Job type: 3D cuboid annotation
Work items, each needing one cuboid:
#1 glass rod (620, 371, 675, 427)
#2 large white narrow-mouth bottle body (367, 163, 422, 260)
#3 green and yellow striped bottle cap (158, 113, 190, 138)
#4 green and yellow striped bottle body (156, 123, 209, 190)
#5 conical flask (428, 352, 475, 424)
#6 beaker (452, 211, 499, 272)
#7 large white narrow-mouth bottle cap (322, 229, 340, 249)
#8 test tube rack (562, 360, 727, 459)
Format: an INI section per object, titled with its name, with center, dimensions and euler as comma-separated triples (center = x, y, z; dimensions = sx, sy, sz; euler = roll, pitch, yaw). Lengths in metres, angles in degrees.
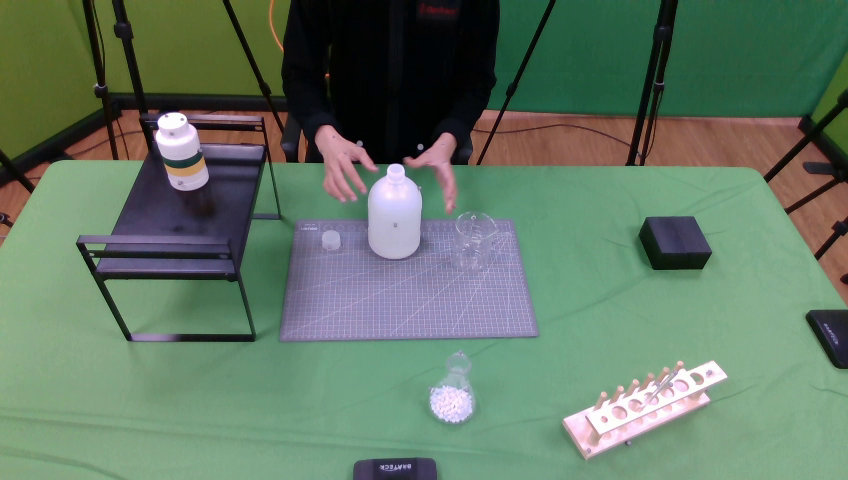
[glass rod]
center = 0.316, 0.230, 0.863
dimensions = 0.008, 0.200, 0.008
euler = 3, 54, -3
[large white narrow-mouth bottle body]
center = -0.055, -0.059, 1.128
dimensions = 0.102, 0.195, 0.101
euler = 3, 45, -3
[green and yellow striped bottle cap]
center = -0.393, -0.180, 0.951
dimensions = 0.045, 0.020, 0.045
euler = 2, 44, -2
[green and yellow striped bottle body]
center = -0.395, -0.145, 0.989
dimensions = 0.063, 0.120, 0.063
euler = 2, 46, -2
[conical flask]
center = 0.046, 0.220, 0.920
dimensions = 0.075, 0.122, 0.075
euler = 2, 46, -2
[beaker]
center = 0.093, 0.006, 1.141
dimensions = 0.084, 0.101, 0.073
euler = 8, 47, 3
[large white narrow-mouth bottle cap]
center = -0.182, -0.003, 1.184
dimensions = 0.038, 0.024, 0.037
euler = 3, 45, -3
[test tube rack]
center = 0.341, 0.247, 0.940
dimensions = 0.243, 0.085, 0.066
euler = -16, 49, -18
